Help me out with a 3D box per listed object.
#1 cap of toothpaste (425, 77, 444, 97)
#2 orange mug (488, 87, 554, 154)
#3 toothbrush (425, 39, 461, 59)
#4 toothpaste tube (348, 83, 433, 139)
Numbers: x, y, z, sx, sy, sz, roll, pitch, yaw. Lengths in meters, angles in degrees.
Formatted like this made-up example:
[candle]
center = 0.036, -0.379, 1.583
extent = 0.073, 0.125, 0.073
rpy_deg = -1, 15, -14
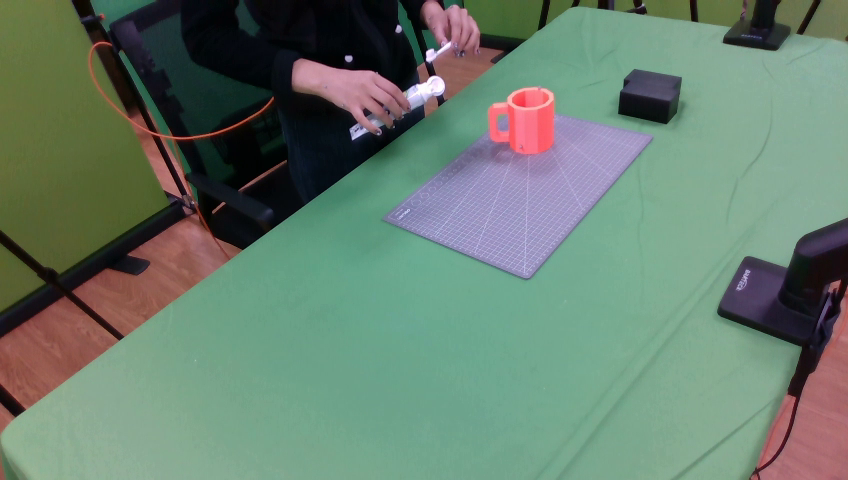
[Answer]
[cap of toothpaste]
center = 0.019, -0.271, 1.067
extent = 0.037, 0.037, 0.011
rpy_deg = -26, 5, -18
[orange mug]
center = 0.185, -0.227, 1.151
extent = 0.126, 0.101, 0.083
rpy_deg = 1, 41, 5
[toothbrush]
center = 0.040, -0.354, 1.114
extent = 0.016, 0.014, 0.182
rpy_deg = 15, 29, 14
[toothpaste tube]
center = -0.059, -0.227, 1.052
extent = 0.165, 0.035, 0.054
rpy_deg = -28, 29, 3
